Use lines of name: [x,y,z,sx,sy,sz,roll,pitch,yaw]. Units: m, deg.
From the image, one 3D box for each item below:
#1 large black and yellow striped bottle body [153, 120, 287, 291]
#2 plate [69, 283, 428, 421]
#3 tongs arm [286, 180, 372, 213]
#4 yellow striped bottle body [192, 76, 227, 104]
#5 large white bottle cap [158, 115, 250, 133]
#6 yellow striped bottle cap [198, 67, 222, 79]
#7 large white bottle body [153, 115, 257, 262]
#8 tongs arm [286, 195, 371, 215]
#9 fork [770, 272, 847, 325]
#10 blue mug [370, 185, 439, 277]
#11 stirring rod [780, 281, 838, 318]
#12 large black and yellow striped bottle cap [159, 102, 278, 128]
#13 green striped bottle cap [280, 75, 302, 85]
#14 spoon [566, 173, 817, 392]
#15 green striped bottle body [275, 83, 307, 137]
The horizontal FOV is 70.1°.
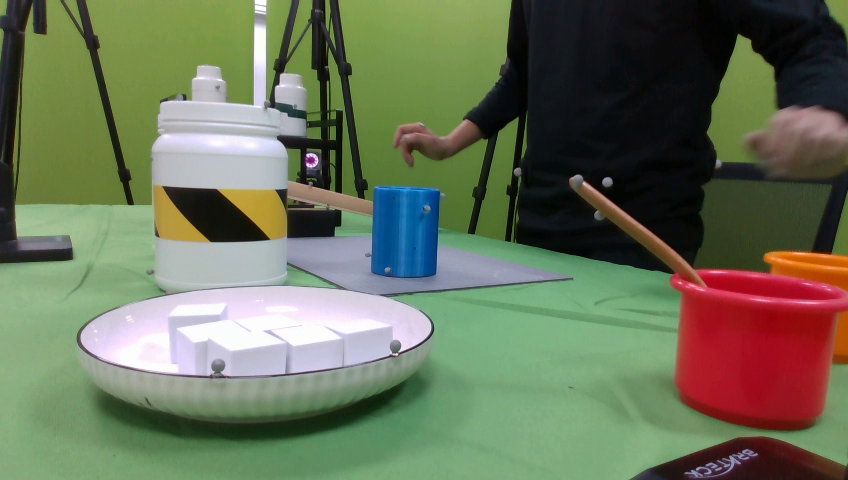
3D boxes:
large black and yellow striped bottle body: [-0.208,-0.042,0.626,0.131,0.184,0.130,2,7,0]
plate: [-0.102,0.066,0.381,0.208,0.039,0.207,2,7,0]
tongs arm: [-0.122,-0.066,1.147,0.387,0.026,0.050,11,-2,-37]
yellow striped bottle body: [-0.414,-0.268,1.169,0.063,0.120,0.063,2,7,0]
large white bottle cap: [-0.291,-0.153,0.803,0.115,0.018,0.115,1,7,0]
yellow striped bottle cap: [-0.412,-0.320,1.163,0.044,0.018,0.044,1,6,0]
large white bottle body: [-0.293,-0.070,0.813,0.131,0.184,0.130,2,7,0]
tongs arm: [-0.165,-0.075,1.216,0.389,0.027,0.028,11,-6,-24]
fork: [0.331,0.018,0.443,0.028,0.018,0.207,-1,-36,-16]
blue mug: [-0.025,-0.016,0.761,0.082,0.106,0.116,2,7,-2]
stirring rod: [0.344,0.019,0.461,0.014,0.006,0.176,-14,-26,-31]
large black and yellow striped bottle cap: [-0.207,-0.125,0.615,0.115,0.019,0.115,2,6,0]
green striped bottle cap: [-0.267,-0.320,1.216,0.044,0.020,0.044,4,8,0]
spoon: [0.161,0.024,0.370,0.193,0.021,0.042,47,18,3]
green striped bottle body: [-0.269,-0.269,1.221,0.063,0.119,0.063,2,7,0]
